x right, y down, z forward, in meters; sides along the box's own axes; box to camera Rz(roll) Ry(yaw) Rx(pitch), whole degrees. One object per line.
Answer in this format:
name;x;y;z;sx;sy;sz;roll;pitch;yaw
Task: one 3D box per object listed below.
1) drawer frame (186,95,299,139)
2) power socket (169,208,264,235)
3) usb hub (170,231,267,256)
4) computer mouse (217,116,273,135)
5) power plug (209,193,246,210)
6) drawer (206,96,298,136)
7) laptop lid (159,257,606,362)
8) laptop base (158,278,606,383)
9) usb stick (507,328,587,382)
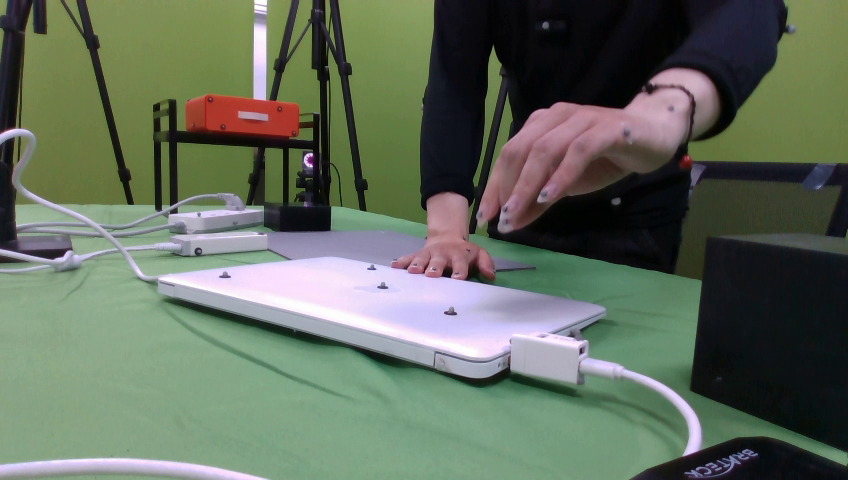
drawer frame;-0.417;-0.277;1.378;0.203;0.082;0.212;-3;8;-32
power socket;-0.381;-0.038;1.128;0.072;0.032;0.227;4;8;16
usb hub;-0.290;0.004;0.862;0.049;0.025;0.126;10;10;42
computer mouse;-0.401;-0.258;1.354;0.118;0.041;0.062;-6;15;-34
power plug;-0.388;-0.067;1.205;0.072;0.052;0.035;3;8;26
drawer;-0.413;-0.277;1.376;0.195;0.073;0.210;-3;10;-31
laptop lid;-0.040;0.047;0.554;0.355;0.013;0.243;8;7;36
laptop base;-0.042;0.059;0.554;0.352;0.023;0.237;8;7;35
usb stick;0.072;0.071;0.383;0.059;0.027;0.021;-1;4;34
